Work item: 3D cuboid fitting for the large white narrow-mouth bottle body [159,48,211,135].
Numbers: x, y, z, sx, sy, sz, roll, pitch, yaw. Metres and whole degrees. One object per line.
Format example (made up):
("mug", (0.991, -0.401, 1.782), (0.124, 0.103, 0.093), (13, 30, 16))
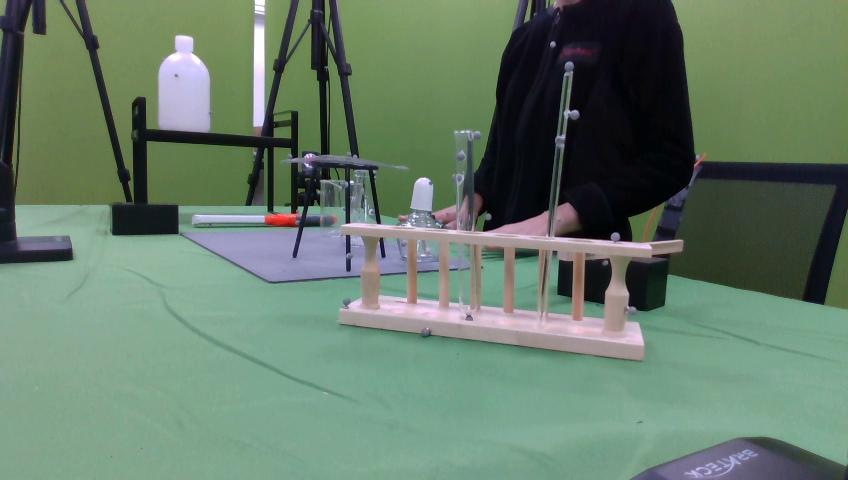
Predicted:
("large white narrow-mouth bottle body", (-0.503, -0.323, 1.275), (0.102, 0.194, 0.102), (2, 7, 0))

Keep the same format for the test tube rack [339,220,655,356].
("test tube rack", (0.056, 0.032, 0.495), (0.242, 0.085, 0.067), (4, 7, 15))

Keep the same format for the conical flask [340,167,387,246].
("conical flask", (-0.095, -0.054, 0.964), (0.075, 0.122, 0.075), (2, 8, 0))

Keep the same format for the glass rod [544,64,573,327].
("glass rod", (0.101, -0.028, 0.453), (0.008, 0.199, 0.008), (2, 13, 0))

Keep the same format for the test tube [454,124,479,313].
("test tube", (0.034, -0.015, 0.476), (0.017, 0.150, 0.017), (-2, 9, 1))

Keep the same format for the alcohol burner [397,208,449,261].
("alcohol burner", (-0.002, -0.031, 0.846), (0.078, 0.119, 0.078), (0, 6, 0))

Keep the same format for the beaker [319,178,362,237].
("beaker", (-0.148, -0.058, 1.069), (0.074, 0.100, 0.084), (1, 8, -8))

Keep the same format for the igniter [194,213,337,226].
("igniter", (-0.306, -0.041, 1.197), (0.278, 0.025, 0.057), (-2, -2, -30))

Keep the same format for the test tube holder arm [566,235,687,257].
("test tube holder arm", (0.215, 0.006, 0.630), (0.179, 0.015, 0.013), (-3, 9, -31))

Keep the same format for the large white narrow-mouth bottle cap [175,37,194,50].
("large white narrow-mouth bottle cap", (-0.501, -0.410, 1.264), (0.038, 0.024, 0.037), (2, 7, 0))

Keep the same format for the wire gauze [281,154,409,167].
("wire gauze", (-0.104, -0.104, 0.784), (0.126, 0.011, 0.121), (-2, 8, -38))

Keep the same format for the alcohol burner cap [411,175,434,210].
("alcohol burner cap", (0.000, -0.067, 0.842), (0.034, 0.048, 0.034), (7, 8, -1))

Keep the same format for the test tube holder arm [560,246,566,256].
("test tube holder arm", (0.173, 0.007, 0.612), (0.088, 0.015, 0.010), (-3, 9, -30))

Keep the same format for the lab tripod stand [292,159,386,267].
("lab tripod stand", (-0.105, -0.039, 0.797), (0.148, 0.131, 0.148), (2, 5, 0))
